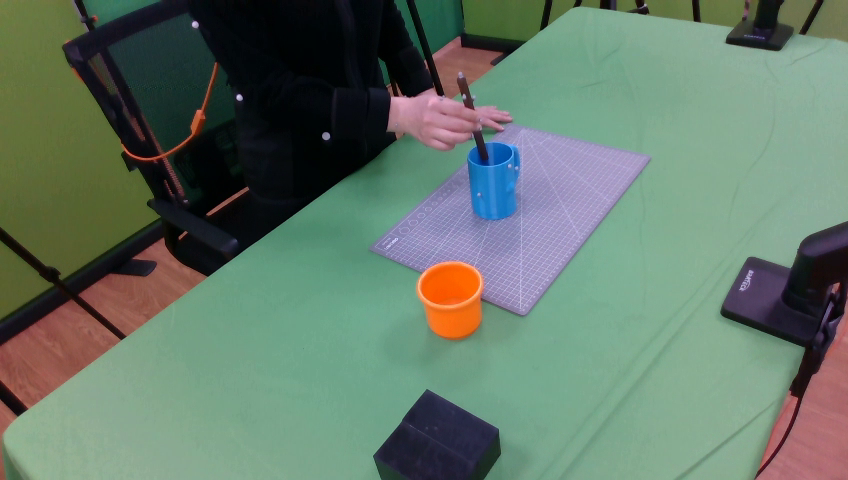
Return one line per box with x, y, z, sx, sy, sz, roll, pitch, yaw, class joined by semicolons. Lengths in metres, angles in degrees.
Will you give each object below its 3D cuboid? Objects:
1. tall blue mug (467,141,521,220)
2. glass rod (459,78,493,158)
0.119;-0.109;1.020;0.077;0.108;0.107;2;42;15;tall blue mug
0.086;-0.184;0.948;0.008;0.201;0.008;-10;59;17;glass rod
